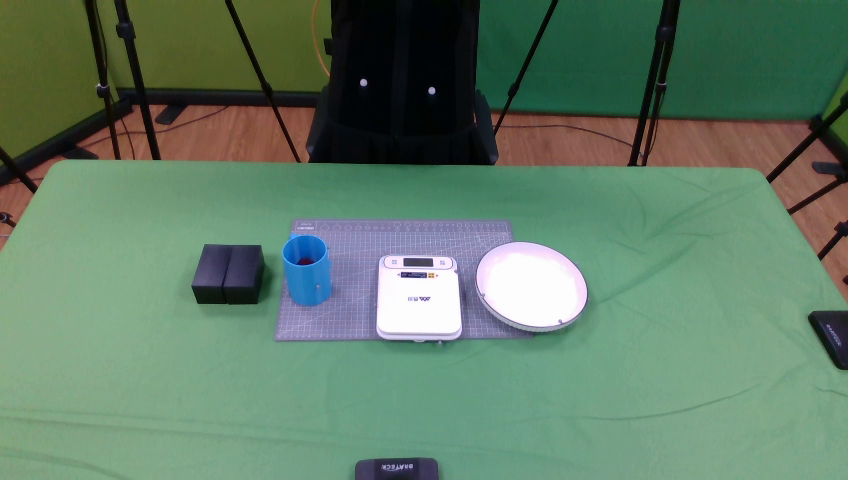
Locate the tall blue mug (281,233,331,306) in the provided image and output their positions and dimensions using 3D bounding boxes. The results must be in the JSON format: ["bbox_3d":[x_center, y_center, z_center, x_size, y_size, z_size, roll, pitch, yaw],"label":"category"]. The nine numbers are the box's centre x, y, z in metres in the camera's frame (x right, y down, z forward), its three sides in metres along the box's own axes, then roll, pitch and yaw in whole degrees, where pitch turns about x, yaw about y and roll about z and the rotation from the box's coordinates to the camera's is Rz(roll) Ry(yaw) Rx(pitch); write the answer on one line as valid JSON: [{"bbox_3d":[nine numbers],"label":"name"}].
[{"bbox_3d":[-0.219,0.046,1.073,0.107,0.108,0.077,28,52,21],"label":"tall blue mug"}]

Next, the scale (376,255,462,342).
[{"bbox_3d":[-0.010,0.096,1.094,0.149,0.032,0.199,2,46,-3],"label":"scale"}]

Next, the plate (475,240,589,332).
[{"bbox_3d":[0.195,0.087,1.112,0.209,0.038,0.208,3,46,-3],"label":"plate"}]
